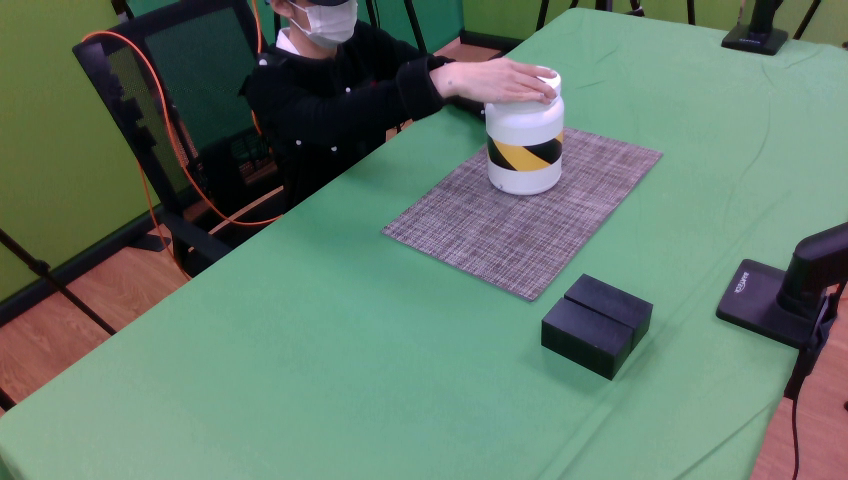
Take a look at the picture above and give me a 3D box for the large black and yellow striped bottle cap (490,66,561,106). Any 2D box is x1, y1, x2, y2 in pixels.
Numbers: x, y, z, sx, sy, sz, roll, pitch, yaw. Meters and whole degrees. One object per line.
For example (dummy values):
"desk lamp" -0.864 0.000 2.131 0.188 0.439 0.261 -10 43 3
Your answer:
"large black and yellow striped bottle cap" 0.163 -0.251 0.977 0.115 0.019 0.114 -4 39 4

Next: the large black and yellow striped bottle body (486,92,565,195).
"large black and yellow striped bottle body" 0.173 -0.183 1.034 0.131 0.185 0.130 -4 41 4
